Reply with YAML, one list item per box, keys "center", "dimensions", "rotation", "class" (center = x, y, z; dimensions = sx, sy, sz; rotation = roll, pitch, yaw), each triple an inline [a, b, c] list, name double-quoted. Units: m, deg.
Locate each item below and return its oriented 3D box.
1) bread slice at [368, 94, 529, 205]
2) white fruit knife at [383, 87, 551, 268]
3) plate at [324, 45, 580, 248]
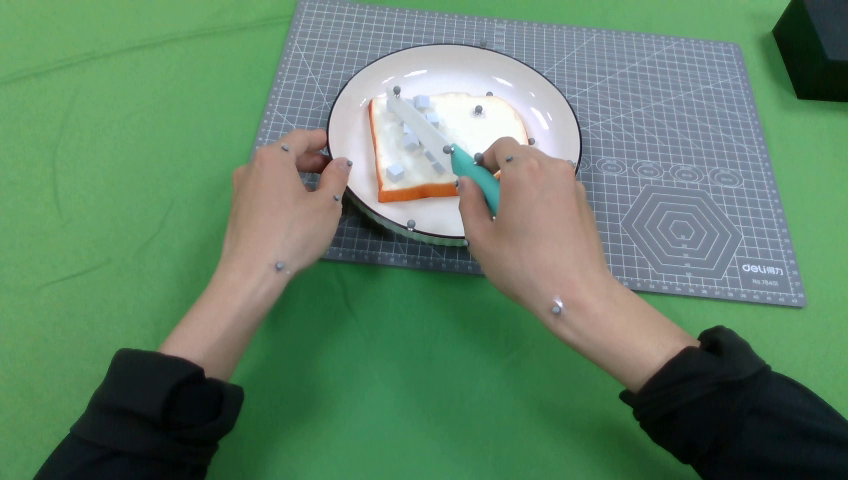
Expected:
- center: [0.021, -0.082, 0.508]
  dimensions: [0.132, 0.019, 0.104]
  rotation: [-7, 59, -7]
  class: "bread slice"
- center: [0.023, -0.057, 0.441]
  dimensions: [0.016, 0.027, 0.205]
  rotation: [-19, 52, -31]
  class: "white fruit knife"
- center: [0.022, -0.078, 0.503]
  dimensions: [0.209, 0.038, 0.207]
  rotation: [2, 59, -3]
  class: "plate"
